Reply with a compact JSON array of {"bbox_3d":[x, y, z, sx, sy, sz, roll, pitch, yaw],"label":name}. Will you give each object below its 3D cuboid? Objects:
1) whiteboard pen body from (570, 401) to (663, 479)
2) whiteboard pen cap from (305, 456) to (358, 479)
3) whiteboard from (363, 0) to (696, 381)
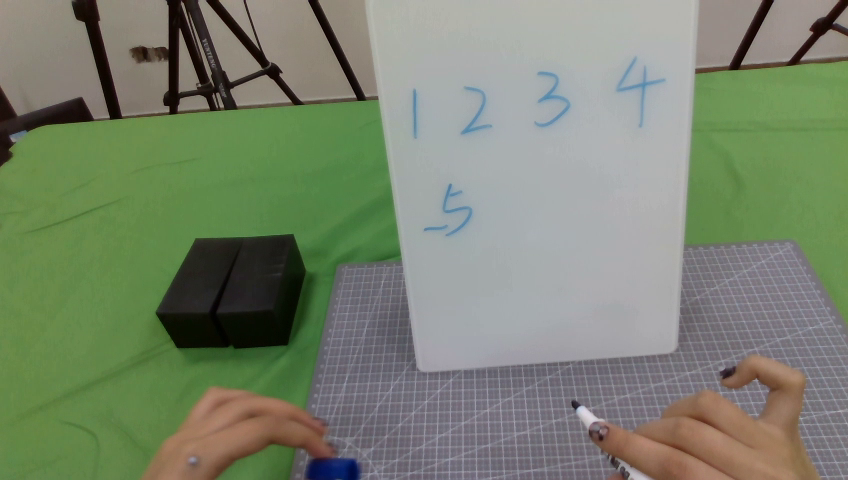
[{"bbox_3d":[0.120,0.132,0.316,0.017,0.017,0.139,-22,37,-16],"label":"whiteboard pen body"},{"bbox_3d":[-0.056,0.143,0.373,0.033,0.018,0.018,-10,37,30],"label":"whiteboard pen cap"},{"bbox_3d":[0.087,-0.057,0.507,0.217,0.307,0.143,-5,23,5],"label":"whiteboard"}]
